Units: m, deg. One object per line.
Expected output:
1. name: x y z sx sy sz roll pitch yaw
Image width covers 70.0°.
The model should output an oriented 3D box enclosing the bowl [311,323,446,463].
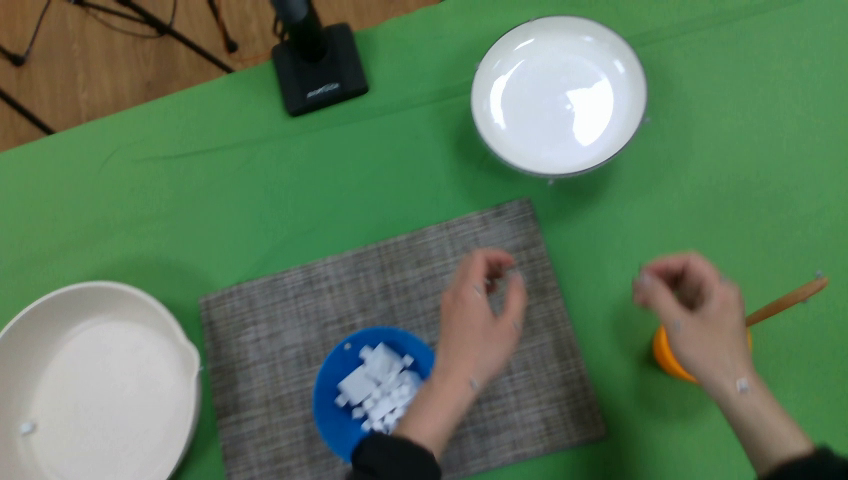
1. bowl: -0.046 0.175 0.697 0.151 0.077 0.150 -2 75 7

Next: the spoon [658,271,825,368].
1. spoon: 0.331 0.087 0.644 0.022 0.194 0.041 -14 68 -43

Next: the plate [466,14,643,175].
1. plate: 0.156 -0.175 0.740 0.207 0.039 0.206 -1 77 6

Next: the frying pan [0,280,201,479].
1. frying pan: -0.372 0.285 0.699 0.307 0.103 0.483 -21 66 2
